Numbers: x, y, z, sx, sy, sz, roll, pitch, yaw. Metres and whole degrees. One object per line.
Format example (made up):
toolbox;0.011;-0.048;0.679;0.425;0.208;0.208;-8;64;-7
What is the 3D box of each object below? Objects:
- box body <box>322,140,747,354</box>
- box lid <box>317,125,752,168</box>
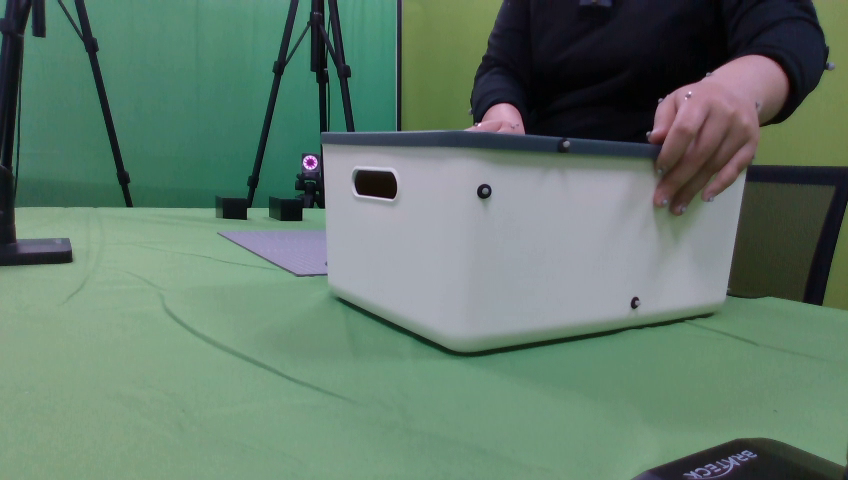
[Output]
box body;0.106;-0.011;0.603;0.366;0.160;0.253;-2;8;-34
box lid;0.107;-0.086;0.593;0.373;0.015;0.262;-1;8;-34
